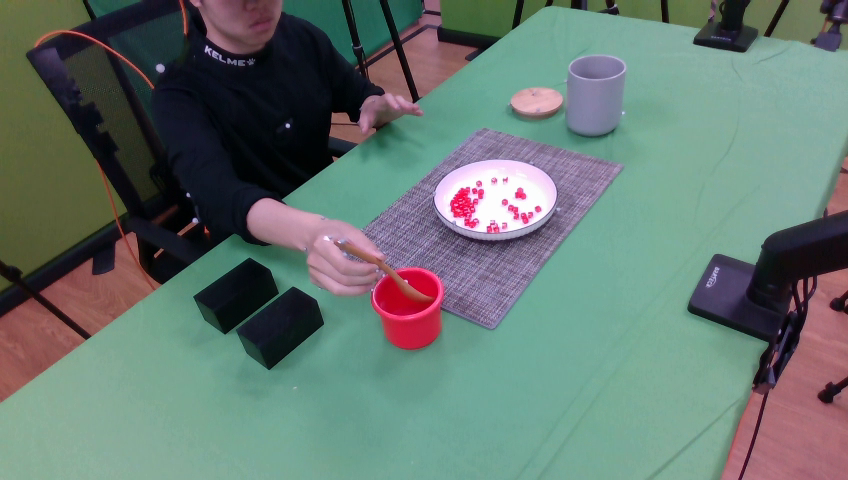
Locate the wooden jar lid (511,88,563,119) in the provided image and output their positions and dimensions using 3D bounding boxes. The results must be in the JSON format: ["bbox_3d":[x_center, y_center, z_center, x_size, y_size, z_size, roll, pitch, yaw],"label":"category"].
[{"bbox_3d":[0.237,-0.286,1.271,0.108,0.021,0.108,-5,42,5],"label":"wooden jar lid"}]

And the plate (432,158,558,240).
[{"bbox_3d":[0.118,-0.066,1.013,0.207,0.039,0.206,-4,41,4],"label":"plate"}]

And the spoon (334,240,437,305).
[{"bbox_3d":[-0.046,0.042,0.751,0.041,0.195,0.021,10,68,42],"label":"spoon"}]

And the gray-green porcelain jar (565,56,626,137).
[{"bbox_3d":[0.325,-0.271,1.159,0.106,0.127,0.105,-4,41,4],"label":"gray-green porcelain jar"}]
